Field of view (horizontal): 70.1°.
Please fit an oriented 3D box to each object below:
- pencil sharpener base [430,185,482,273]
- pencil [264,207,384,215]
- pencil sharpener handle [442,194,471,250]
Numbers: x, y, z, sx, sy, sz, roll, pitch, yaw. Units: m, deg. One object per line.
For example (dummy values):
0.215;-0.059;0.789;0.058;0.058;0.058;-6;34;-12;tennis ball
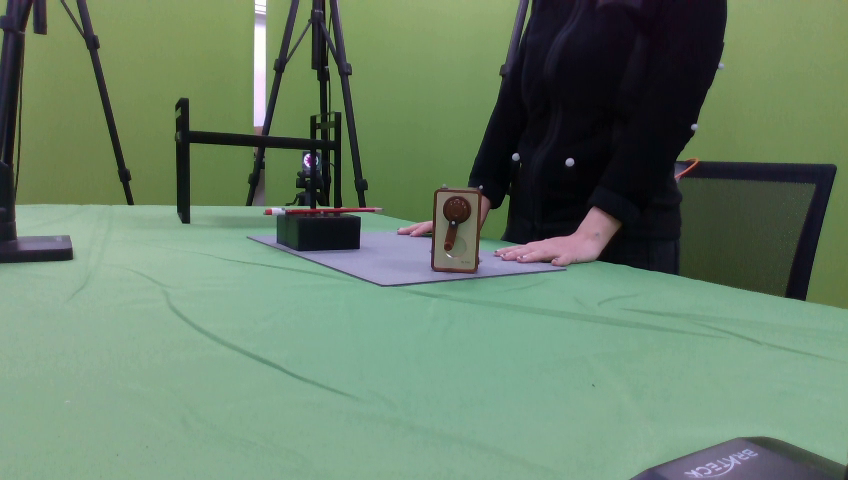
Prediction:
0.042;-0.015;0.784;0.061;0.107;0.077;3;8;4;pencil sharpener base
-0.152;-0.047;0.946;0.195;0.012;0.012;-3;9;-27;pencil
0.036;-0.021;0.731;0.036;0.067;0.030;11;8;3;pencil sharpener handle
